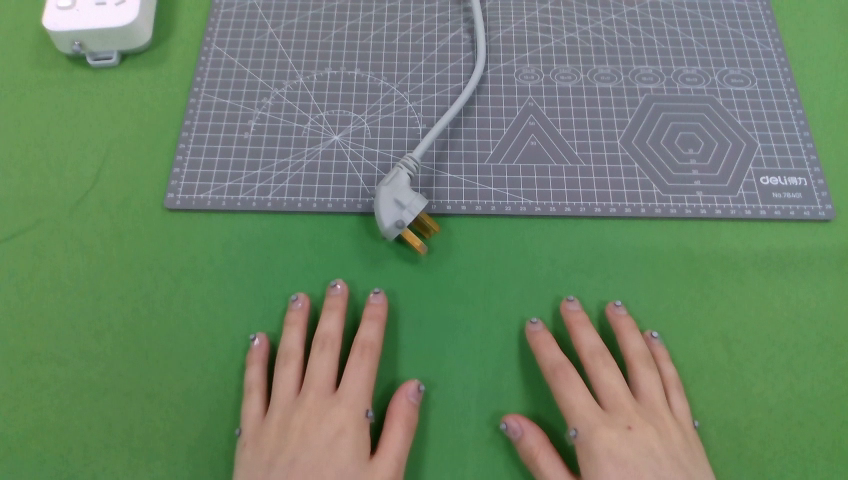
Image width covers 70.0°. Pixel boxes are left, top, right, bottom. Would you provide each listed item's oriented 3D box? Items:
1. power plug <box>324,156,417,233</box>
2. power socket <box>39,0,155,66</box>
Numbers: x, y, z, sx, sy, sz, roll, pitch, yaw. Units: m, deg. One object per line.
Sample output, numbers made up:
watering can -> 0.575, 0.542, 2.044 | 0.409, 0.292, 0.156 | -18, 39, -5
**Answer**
power plug -> -0.032, -0.035, 0.378 | 0.035, 0.073, 0.052 | -37, 28, -6
power socket -> -0.253, -0.239, 0.490 | 0.072, 0.033, 0.225 | -4, 64, -4
